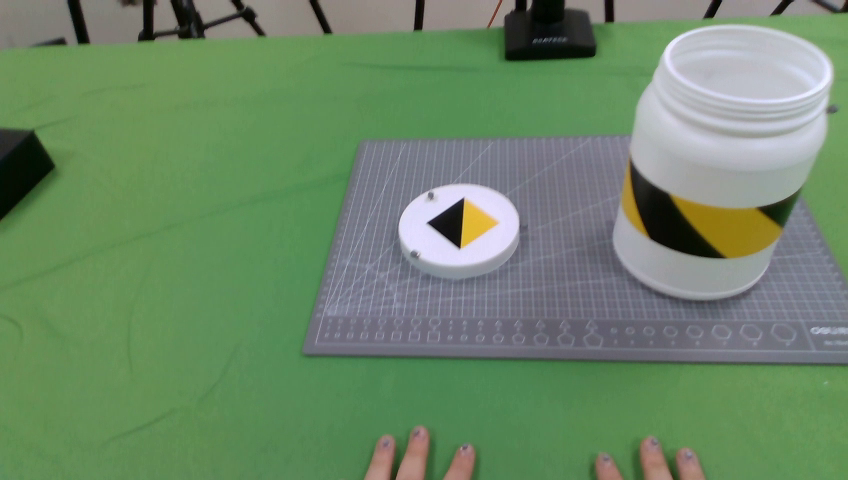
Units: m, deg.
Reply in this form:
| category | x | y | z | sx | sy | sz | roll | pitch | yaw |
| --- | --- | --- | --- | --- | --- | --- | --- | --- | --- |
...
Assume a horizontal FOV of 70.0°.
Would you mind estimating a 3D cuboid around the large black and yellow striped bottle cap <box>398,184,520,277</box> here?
| category | x | y | z | sx | sy | sz | roll | pitch | yaw |
| --- | --- | --- | --- | --- | --- | --- | --- | --- | --- |
| large black and yellow striped bottle cap | 0.032 | -0.012 | 0.576 | 0.115 | 0.019 | 0.114 | -2 | 45 | 3 |

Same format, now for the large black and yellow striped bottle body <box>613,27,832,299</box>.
| category | x | y | z | sx | sy | sz | roll | pitch | yaw |
| --- | --- | --- | --- | --- | --- | --- | --- | --- | --- |
| large black and yellow striped bottle body | 0.227 | -0.058 | 0.479 | 0.131 | 0.186 | 0.129 | -3 | 44 | 4 |
